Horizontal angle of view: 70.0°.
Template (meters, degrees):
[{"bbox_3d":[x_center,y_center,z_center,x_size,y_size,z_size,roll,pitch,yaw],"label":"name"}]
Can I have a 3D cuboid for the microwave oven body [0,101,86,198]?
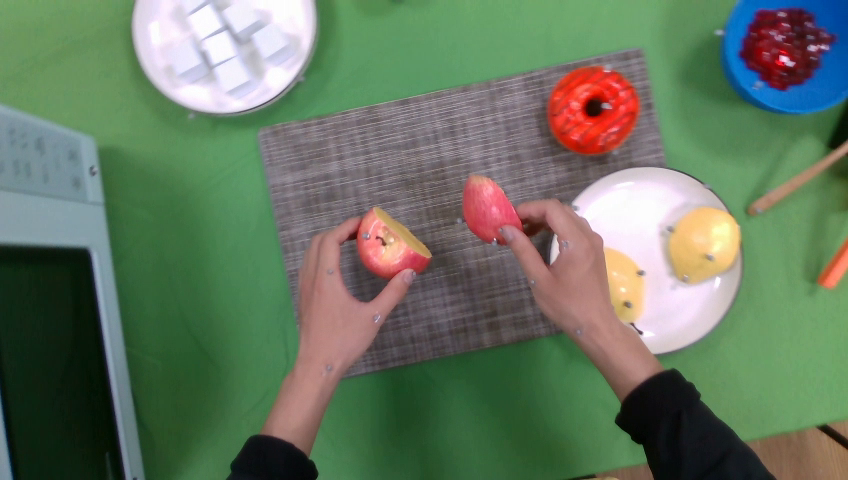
[{"bbox_3d":[-0.506,0.112,0.579,0.326,0.260,0.441,-9,90,1],"label":"microwave oven body"}]

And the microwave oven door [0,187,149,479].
[{"bbox_3d":[-0.355,0.130,0.570,0.039,0.244,0.355,-10,89,1],"label":"microwave oven door"}]

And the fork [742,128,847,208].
[{"bbox_3d":[0.435,-0.101,0.649,0.207,0.018,0.028,-41,97,21],"label":"fork"}]

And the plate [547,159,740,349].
[{"bbox_3d":[0.239,0.015,0.674,0.209,0.038,0.209,0,90,1],"label":"plate"}]

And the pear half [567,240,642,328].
[{"bbox_3d":[0.209,0.054,0.661,0.076,0.056,0.110,-39,95,6],"label":"pear half"}]

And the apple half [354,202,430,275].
[{"bbox_3d":[-0.039,0.005,0.621,0.080,0.074,0.053,41,100,4],"label":"apple half"}]

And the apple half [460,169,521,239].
[{"bbox_3d":[0.054,-0.030,0.584,0.033,0.081,0.081,-38,88,-17],"label":"apple half"}]

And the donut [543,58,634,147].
[{"bbox_3d":[0.181,-0.152,0.672,0.099,0.048,0.099,0,90,4],"label":"donut"}]

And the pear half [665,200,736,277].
[{"bbox_3d":[0.297,0.000,0.658,0.070,0.031,0.088,25,102,25],"label":"pear half"}]

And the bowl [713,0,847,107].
[{"bbox_3d":[0.378,-0.212,0.655,0.151,0.077,0.151,0,90,1],"label":"bowl"}]

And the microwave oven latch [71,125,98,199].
[{"bbox_3d":[-0.385,-0.085,0.673,0.030,0.029,0.079,-7,90,1],"label":"microwave oven latch"}]

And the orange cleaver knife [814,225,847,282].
[{"bbox_3d":[0.483,-0.052,0.650,0.012,0.077,0.212,25,116,7],"label":"orange cleaver knife"}]

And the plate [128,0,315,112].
[{"bbox_3d":[-0.225,-0.246,0.688,0.207,0.039,0.207,0,90,1],"label":"plate"}]
